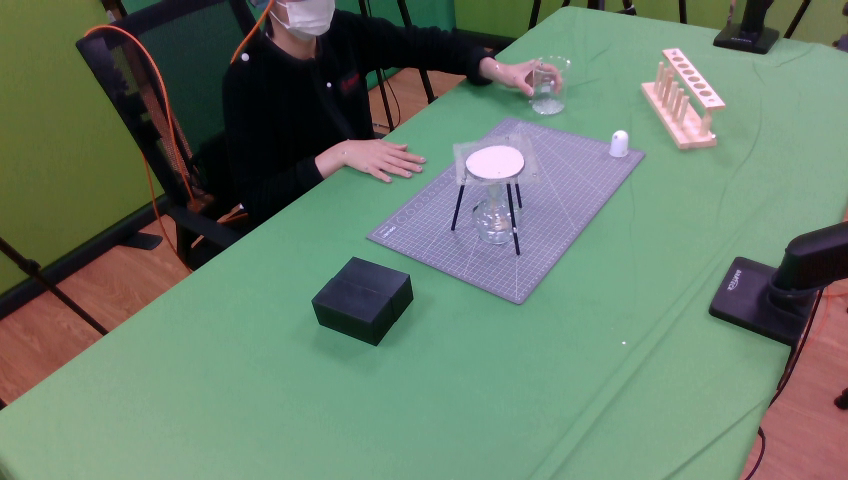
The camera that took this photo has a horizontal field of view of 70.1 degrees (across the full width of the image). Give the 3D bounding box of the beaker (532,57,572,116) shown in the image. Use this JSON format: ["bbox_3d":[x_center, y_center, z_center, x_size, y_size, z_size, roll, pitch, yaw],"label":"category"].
[{"bbox_3d":[0.261,-0.315,1.241,0.084,0.100,0.073,-14,43,-9],"label":"beaker"}]

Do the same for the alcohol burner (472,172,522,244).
[{"bbox_3d":[0.112,-0.053,0.942,0.078,0.119,0.077,-6,40,5],"label":"alcohol burner"}]

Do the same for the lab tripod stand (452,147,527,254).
[{"bbox_3d":[0.111,-0.066,0.943,0.148,0.132,0.147,-5,42,5],"label":"lab tripod stand"}]

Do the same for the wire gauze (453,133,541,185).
[{"bbox_3d":[0.105,-0.120,0.902,0.125,0.011,0.121,-5,41,6],"label":"wire gauze"}]

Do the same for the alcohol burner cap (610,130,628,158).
[{"bbox_3d":[0.359,-0.177,1.106,0.034,0.048,0.033,-5,41,5],"label":"alcohol burner cap"}]

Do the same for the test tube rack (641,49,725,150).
[{"bbox_3d":[0.495,-0.279,1.175,0.067,0.085,0.241,-5,41,3],"label":"test tube rack"}]
